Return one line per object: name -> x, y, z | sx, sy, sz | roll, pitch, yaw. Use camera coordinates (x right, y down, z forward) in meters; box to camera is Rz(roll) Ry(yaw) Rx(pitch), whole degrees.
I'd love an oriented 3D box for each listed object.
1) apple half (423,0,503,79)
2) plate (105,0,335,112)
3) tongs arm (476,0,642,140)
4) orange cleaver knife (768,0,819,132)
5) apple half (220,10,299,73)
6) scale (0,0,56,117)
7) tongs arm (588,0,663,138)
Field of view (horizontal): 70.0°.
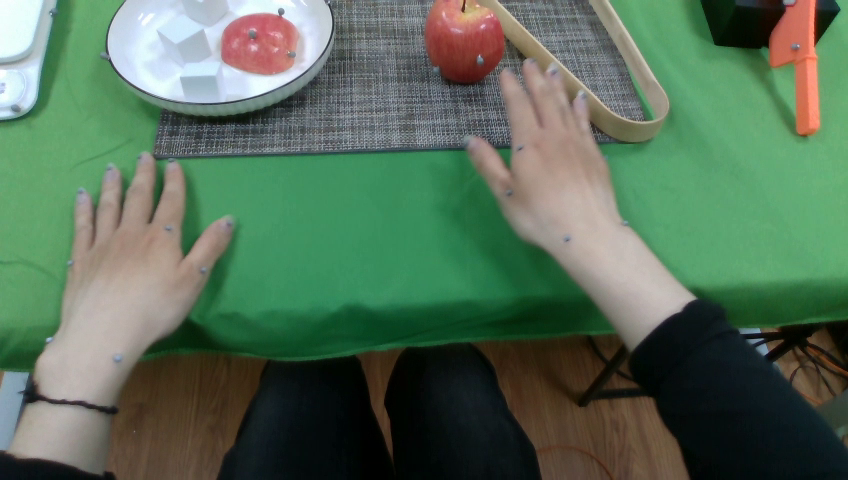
apple half -> 0.029, -0.188, 0.569 | 0.053, 0.075, 0.080 | -38, 70, -19
plate -> -0.189, -0.194, 0.582 | 0.209, 0.038, 0.207 | 2, 57, -2
tongs arm -> 0.086, -0.237, 0.630 | 0.028, 0.028, 0.384 | -24, 62, -21
orange cleaver knife -> 0.365, -0.207, 0.597 | 0.012, 0.077, 0.211 | 2, 87, -5
apple half -> -0.159, -0.199, 0.580 | 0.081, 0.033, 0.080 | 3, 58, -5
scale -> -0.437, -0.193, 0.575 | 0.149, 0.032, 0.199 | -7, 59, -7
tongs arm -> 0.164, -0.262, 0.648 | 0.051, 0.027, 0.381 | -13, 60, -12
